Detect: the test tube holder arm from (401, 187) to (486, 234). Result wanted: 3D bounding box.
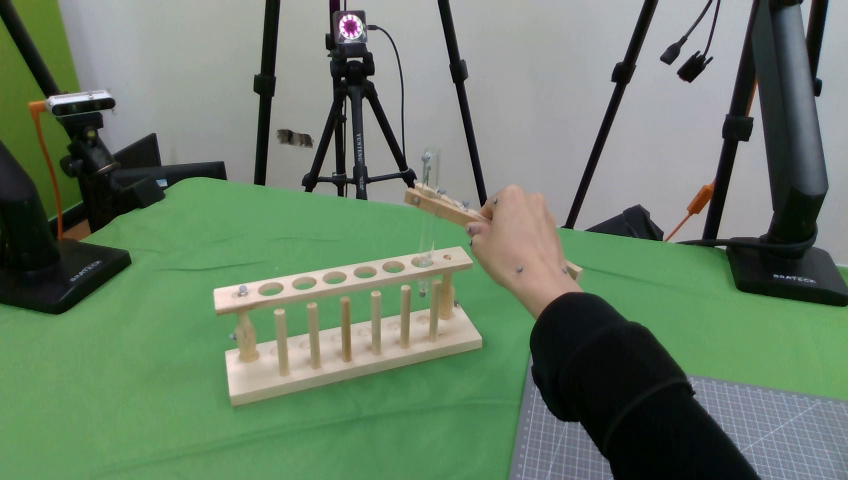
[{"bbox_3d":[0.018,-0.027,0.553,0.087,0.015,0.010,23,37,20],"label":"test tube holder arm"}]

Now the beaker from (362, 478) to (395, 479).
[{"bbox_3d":[-0.032,0.199,0.349,0.083,0.101,0.074,12,32,20],"label":"beaker"}]

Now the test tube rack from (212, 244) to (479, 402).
[{"bbox_3d":[-0.069,0.074,0.581,0.243,0.086,0.066,-10,32,-18],"label":"test tube rack"}]

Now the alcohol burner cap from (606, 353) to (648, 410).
[{"bbox_3d":[0.182,0.123,0.540,0.034,0.048,0.033,1,29,0],"label":"alcohol burner cap"}]

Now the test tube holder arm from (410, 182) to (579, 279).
[{"bbox_3d":[0.058,-0.011,0.539,0.177,0.015,0.013,28,40,26],"label":"test tube holder arm"}]

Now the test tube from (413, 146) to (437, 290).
[{"bbox_3d":[0.000,-0.017,0.577,0.017,0.151,0.017,3,29,-1],"label":"test tube"}]
